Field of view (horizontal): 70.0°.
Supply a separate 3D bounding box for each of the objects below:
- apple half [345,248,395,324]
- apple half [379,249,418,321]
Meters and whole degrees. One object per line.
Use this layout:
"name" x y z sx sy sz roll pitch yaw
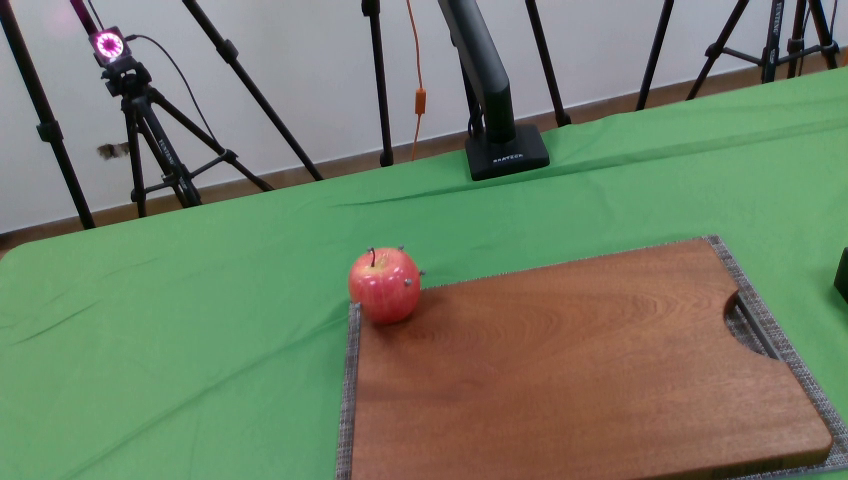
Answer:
"apple half" -0.059 0.054 0.676 0.053 0.075 0.080 -8 41 15
"apple half" -0.022 0.049 0.667 0.032 0.082 0.080 -8 39 15
